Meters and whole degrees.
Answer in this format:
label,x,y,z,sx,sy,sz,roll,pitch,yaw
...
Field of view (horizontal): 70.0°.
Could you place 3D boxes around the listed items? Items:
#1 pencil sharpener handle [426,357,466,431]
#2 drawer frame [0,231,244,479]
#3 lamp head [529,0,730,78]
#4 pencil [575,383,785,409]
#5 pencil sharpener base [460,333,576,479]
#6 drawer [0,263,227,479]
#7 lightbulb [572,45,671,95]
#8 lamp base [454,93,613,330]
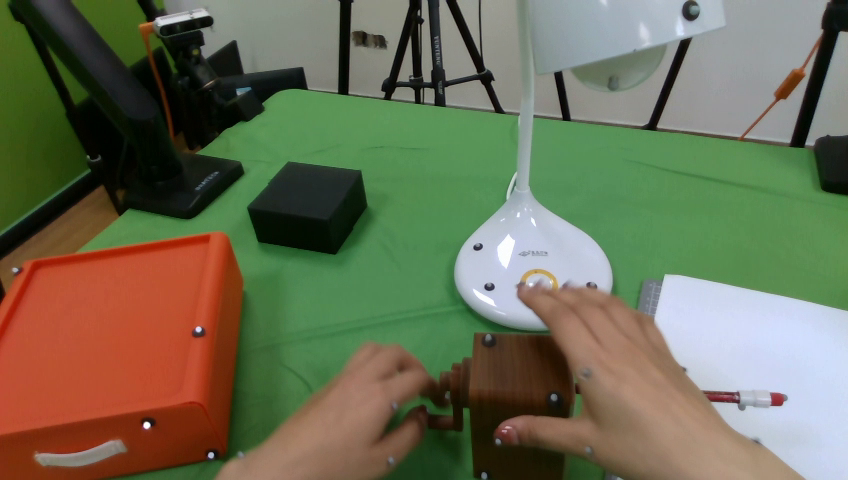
label,x,y,z,sx,sy,sz,roll,pitch,yaw
pencil sharpener handle,0.015,0.115,0.443,0.030,0.068,0.035,1,34,8
drawer frame,-0.273,0.098,0.534,0.202,0.083,0.211,-10,38,-5
lamp head,0.108,-0.166,0.355,0.112,0.123,0.112,-16,9,3
pencil,0.144,0.105,0.417,0.194,0.012,0.012,2,39,7
pencil sharpener base,0.067,0.124,0.445,0.076,0.108,0.061,1,40,8
drawer,-0.270,0.101,0.533,0.195,0.074,0.209,-9,38,-4
lightbulb,0.113,-0.140,0.355,0.059,0.108,0.059,-5,14,2
lamp base,0.103,-0.035,0.583,0.161,0.182,0.177,-9,37,-5
